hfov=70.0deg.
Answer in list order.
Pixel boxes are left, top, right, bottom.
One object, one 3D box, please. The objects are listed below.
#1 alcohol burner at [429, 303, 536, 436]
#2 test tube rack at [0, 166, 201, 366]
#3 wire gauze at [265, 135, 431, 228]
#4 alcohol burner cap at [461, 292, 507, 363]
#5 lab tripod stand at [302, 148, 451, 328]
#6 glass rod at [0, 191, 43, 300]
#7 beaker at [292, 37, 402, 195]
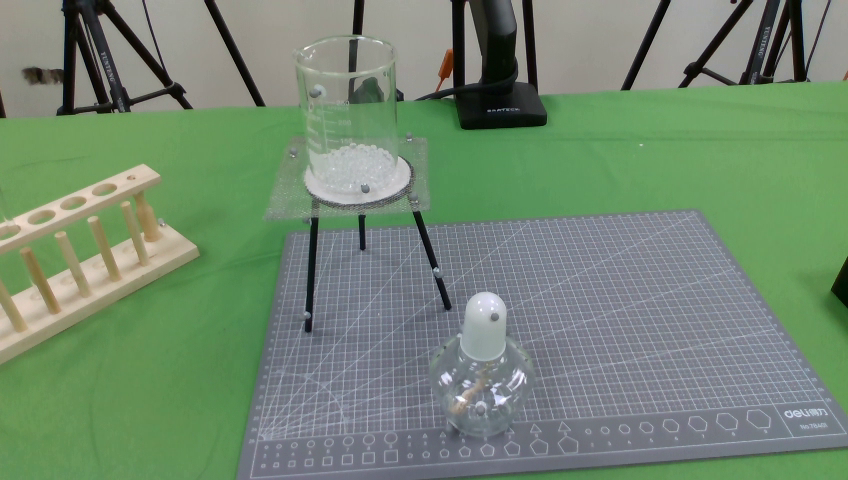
[{"bbox_3d":[0.042,0.084,0.431,0.078,0.120,0.077,0,40,1],"label":"alcohol burner"},{"bbox_3d":[-0.335,0.027,0.544,0.066,0.086,0.242,28,47,33],"label":"test tube rack"},{"bbox_3d":[-0.057,-0.053,0.486,0.121,0.011,0.124,-2,40,-1],"label":"wire gauze"},{"bbox_3d":[0.042,0.056,0.408,0.034,0.048,0.033,1,39,0],"label":"alcohol burner cap"},{"bbox_3d":[-0.047,-0.002,0.529,0.148,0.132,0.147,0,37,0],"label":"lab tripod stand"},{"bbox_3d":[-0.359,-0.031,0.512,0.008,0.201,0.008,0,31,1],"label":"glass rod"},{"bbox_3d":[-0.058,-0.092,0.458,0.083,0.101,0.074,22,43,25],"label":"beaker"}]
